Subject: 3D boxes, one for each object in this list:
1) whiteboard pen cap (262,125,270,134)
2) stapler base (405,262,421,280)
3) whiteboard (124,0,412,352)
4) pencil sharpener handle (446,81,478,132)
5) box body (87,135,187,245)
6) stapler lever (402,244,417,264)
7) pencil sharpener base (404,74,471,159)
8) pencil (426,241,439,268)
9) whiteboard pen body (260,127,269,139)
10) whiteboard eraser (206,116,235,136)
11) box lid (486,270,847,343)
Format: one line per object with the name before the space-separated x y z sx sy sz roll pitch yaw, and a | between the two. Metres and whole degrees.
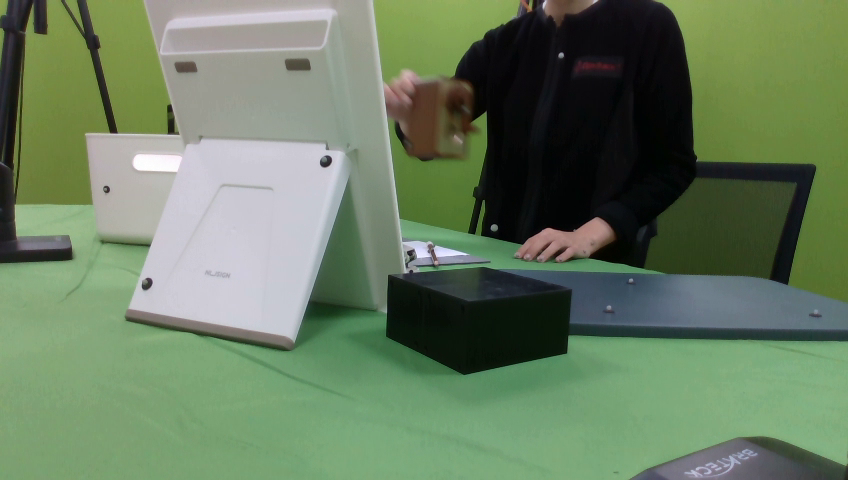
whiteboard pen cap | -0.349 -0.244 1.337 0.018 0.018 0.033 0 2 -17
stapler base | -0.069 0.027 0.759 0.130 0.024 0.041 9 13 23
whiteboard | -0.151 -0.049 0.472 0.216 0.305 0.144 6 27 24
pencil sharpener handle | 0.055 -0.176 0.796 0.036 0.068 0.030 -18 16 -36
box body | -0.338 -0.088 1.022 0.254 0.160 0.364 3 7 9
stapler lever | -0.066 0.003 0.755 0.117 0.040 0.027 9 13 23
pencil sharpener base | 0.020 -0.168 0.834 0.062 0.107 0.076 0 6 -38
pencil | 0.013 0.021 0.885 0.012 0.012 0.194 2 9 -3
whiteboard pen body | -0.366 -0.247 1.392 0.017 0.017 0.140 0 4 -17
whiteboard eraser | -0.450 -0.252 1.335 0.056 0.042 0.112 1 7 -22
box lid | 0.266 0.066 0.643 0.372 0.015 0.263 2 7 -5
